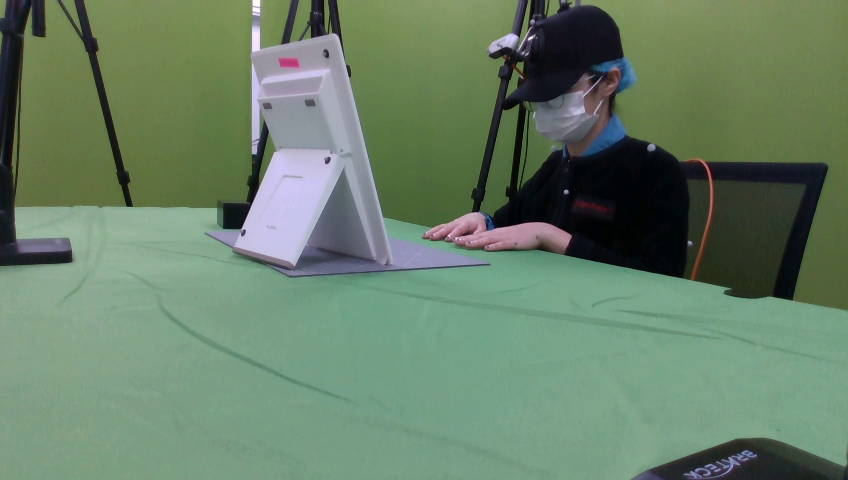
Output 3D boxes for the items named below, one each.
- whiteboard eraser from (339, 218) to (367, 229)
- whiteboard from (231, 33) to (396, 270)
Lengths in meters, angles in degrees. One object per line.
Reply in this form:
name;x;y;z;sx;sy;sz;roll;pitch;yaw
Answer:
whiteboard eraser;-0.146;-0.036;1.246;0.041;0.019;0.101;1;5;9
whiteboard;-0.193;-0.094;0.805;0.144;0.305;0.216;-29;25;-35
